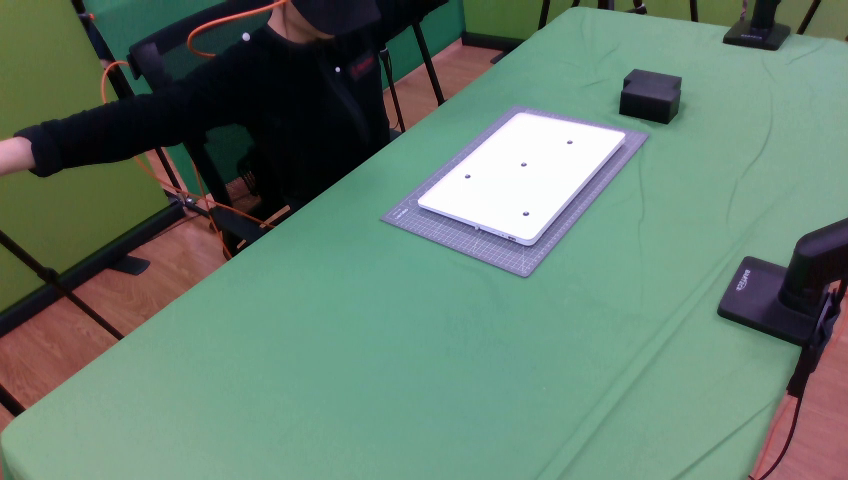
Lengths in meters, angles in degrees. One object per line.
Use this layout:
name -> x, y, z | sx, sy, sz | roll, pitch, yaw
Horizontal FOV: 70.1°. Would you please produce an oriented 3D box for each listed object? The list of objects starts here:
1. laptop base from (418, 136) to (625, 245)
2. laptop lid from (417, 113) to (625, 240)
laptop base -> 0.183, -0.123, 1.094 | 0.233, 0.023, 0.355 | 19, 47, 34
laptop lid -> 0.180, -0.132, 1.088 | 0.239, 0.013, 0.358 | 22, 49, 34
